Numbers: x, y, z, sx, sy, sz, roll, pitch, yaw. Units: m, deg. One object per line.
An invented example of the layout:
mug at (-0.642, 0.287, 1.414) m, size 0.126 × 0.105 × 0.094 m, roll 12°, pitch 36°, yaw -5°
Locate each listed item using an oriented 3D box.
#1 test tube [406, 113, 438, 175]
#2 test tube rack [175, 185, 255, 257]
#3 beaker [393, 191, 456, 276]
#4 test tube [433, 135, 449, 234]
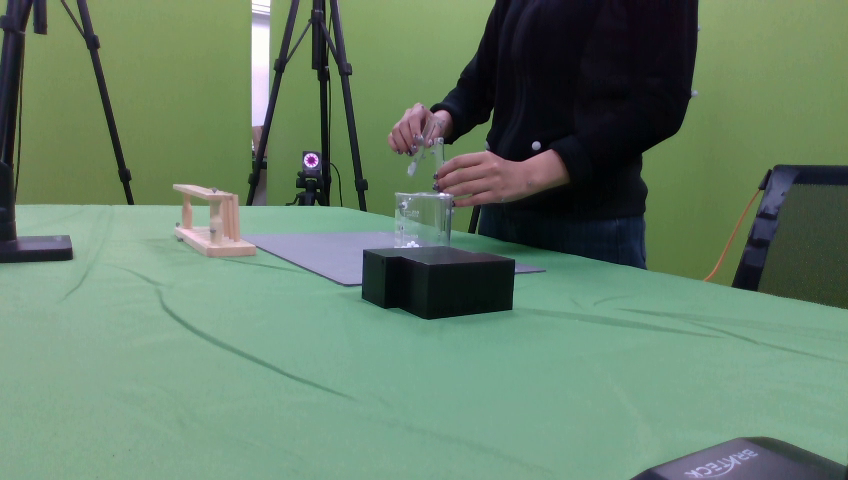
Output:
test tube at (-0.005, -0.153, 0.988) m, size 0.017 × 0.017 × 0.150 m, roll -1°, pitch -29°, yaw -19°
test tube rack at (-0.324, -0.035, 0.922) m, size 0.067 × 0.085 × 0.241 m, roll -2°, pitch 9°, yaw -31°
beaker at (-0.003, -0.010, 0.749) m, size 0.074 × 0.100 × 0.083 m, roll -3°, pitch 8°, yaw -40°
test tube at (0.026, -0.084, 0.915) m, size 0.017 × 0.150 × 0.017 m, roll -3°, pitch -3°, yaw 0°
